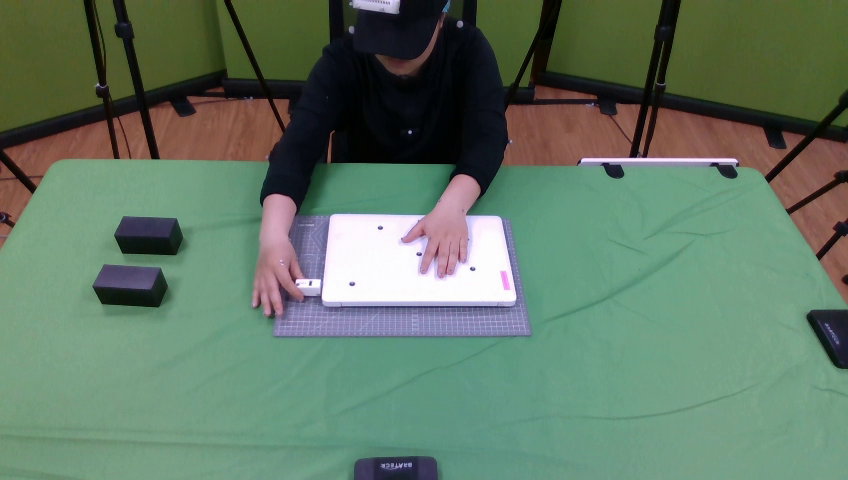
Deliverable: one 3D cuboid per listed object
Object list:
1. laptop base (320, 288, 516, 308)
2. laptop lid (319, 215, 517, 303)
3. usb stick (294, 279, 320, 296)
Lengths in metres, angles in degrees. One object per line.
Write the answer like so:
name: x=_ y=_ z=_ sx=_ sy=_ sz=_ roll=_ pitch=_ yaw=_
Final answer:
laptop base: x=-0.013 y=0.039 z=1.160 sx=0.355 sy=0.023 sz=0.234 roll=0 pitch=42 yaw=-4
laptop lid: x=-0.012 y=0.030 z=1.154 sx=0.357 sy=0.013 sz=0.240 roll=2 pitch=43 yaw=-3
usb stick: x=-0.202 y=0.085 z=1.083 sx=0.059 sy=0.027 sz=0.021 roll=5 pitch=49 yaw=-5
